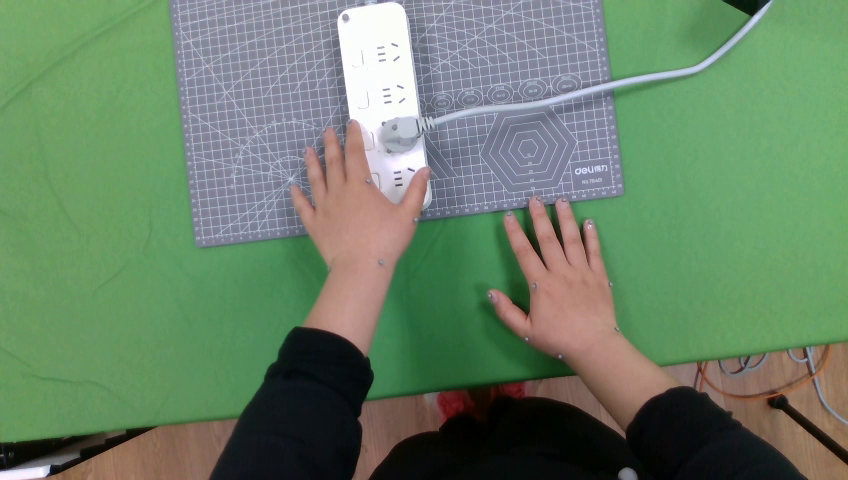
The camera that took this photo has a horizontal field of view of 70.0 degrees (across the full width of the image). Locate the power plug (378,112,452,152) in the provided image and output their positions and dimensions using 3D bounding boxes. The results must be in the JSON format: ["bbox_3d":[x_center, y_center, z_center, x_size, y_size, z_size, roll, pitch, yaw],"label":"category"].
[{"bbox_3d":[-0.009,-0.104,0.594,0.072,0.052,0.035,2,90,3],"label":"power plug"}]

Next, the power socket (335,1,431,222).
[{"bbox_3d":[-0.042,-0.131,0.616,0.072,0.032,0.226,-8,88,3],"label":"power socket"}]
